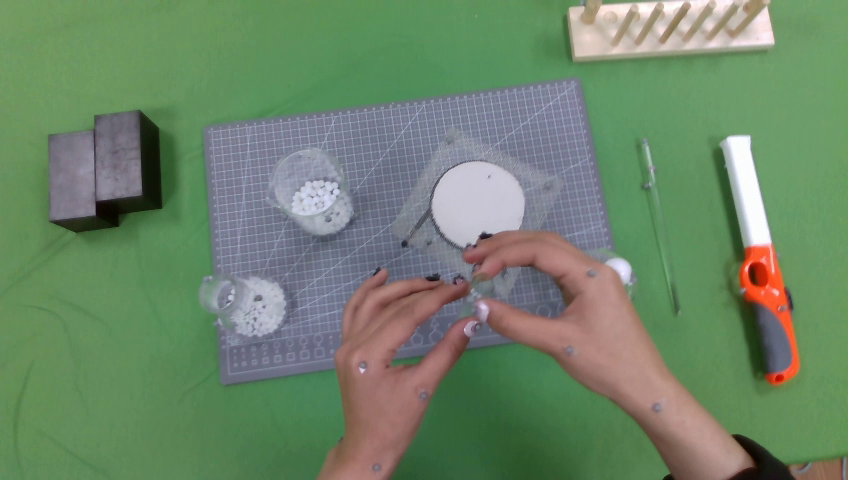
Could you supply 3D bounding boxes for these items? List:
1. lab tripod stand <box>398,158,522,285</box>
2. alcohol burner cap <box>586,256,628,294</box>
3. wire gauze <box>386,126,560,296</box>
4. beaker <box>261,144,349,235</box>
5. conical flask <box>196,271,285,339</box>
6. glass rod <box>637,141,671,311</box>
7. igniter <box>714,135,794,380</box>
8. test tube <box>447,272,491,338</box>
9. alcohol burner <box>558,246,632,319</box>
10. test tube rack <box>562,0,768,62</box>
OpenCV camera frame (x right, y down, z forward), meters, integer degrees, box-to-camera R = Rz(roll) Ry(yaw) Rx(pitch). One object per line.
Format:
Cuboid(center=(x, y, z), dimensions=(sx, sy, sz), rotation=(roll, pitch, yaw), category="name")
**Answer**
Cuboid(center=(0.043, -0.018, 0.624), dimensions=(0.148, 0.132, 0.148), rotation=(0, 80, 1), category="lab tripod stand")
Cuboid(center=(0.179, 0.031, 0.588), dimensions=(0.034, 0.048, 0.033), rotation=(1, 71, -2), category="alcohol burner cap")
Cuboid(center=(0.046, -0.030, 0.558), dimensions=(0.125, 0.011, 0.121), rotation=(29, 81, 5), category="wire gauze")
Cuboid(center=(-0.122, -0.047, 0.646), dimensions=(0.084, 0.100, 0.073), rotation=(-24, 79, -5), category="beaker")
Cuboid(center=(-0.190, 0.060, 0.611), dimensions=(0.075, 0.122, 0.075), rotation=(0, 78, 0), category="conical flask")
Cuboid(center=(0.263, -0.018, 0.692), dimensions=(0.008, 0.008, 0.199), rotation=(-6, 81, -2), category="glass rod")
Cuboid(center=(0.368, 0.015, 0.677), dimensions=(0.057, 0.025, 0.275), rotation=(-3, 78, -12), category="igniter")
Cuboid(center=(0.031, 0.053, 0.453), dimensions=(0.017, 0.151, 0.017), rotation=(1, 70, -3), category="test tube")
Cuboid(center=(0.179, 0.041, 0.623), dimensions=(0.078, 0.119, 0.077), rotation=(0, 78, 2), category="alcohol burner")
Cuboid(center=(0.292, -0.266, 0.704), dimensions=(0.242, 0.085, 0.066), rotation=(-4, 78, -1), category="test tube rack")
